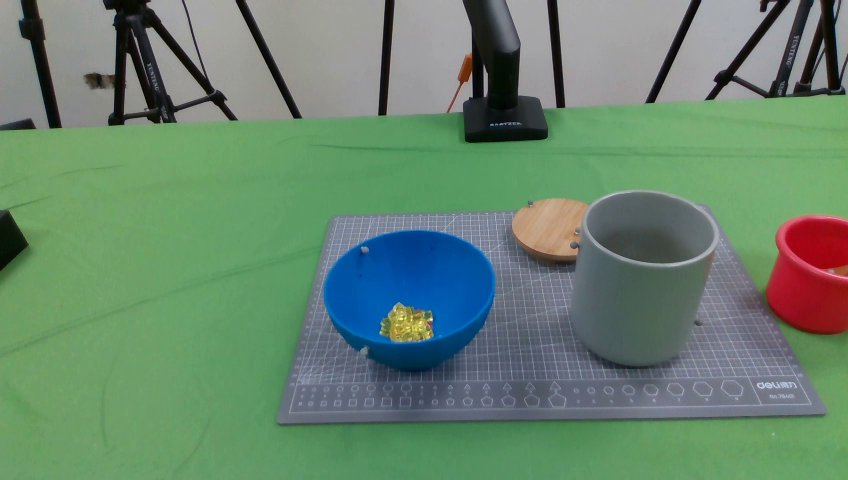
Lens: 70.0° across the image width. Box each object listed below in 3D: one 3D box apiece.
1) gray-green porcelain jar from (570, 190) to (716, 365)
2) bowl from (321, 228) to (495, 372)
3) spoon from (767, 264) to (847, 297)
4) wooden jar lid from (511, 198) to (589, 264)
[{"bbox_3d":[0.183,0.037,0.526,0.106,0.127,0.105,-3,38,2],"label":"gray-green porcelain jar"},{"bbox_3d":[-0.012,0.065,0.546,0.151,0.077,0.150,-2,38,2],"label":"bowl"},{"bbox_3d":[0.396,0.019,0.521,0.022,0.193,0.041,53,51,-5],"label":"spoon"},{"bbox_3d":[0.151,-0.010,0.676,0.108,0.021,0.107,-2,37,2],"label":"wooden jar lid"}]
